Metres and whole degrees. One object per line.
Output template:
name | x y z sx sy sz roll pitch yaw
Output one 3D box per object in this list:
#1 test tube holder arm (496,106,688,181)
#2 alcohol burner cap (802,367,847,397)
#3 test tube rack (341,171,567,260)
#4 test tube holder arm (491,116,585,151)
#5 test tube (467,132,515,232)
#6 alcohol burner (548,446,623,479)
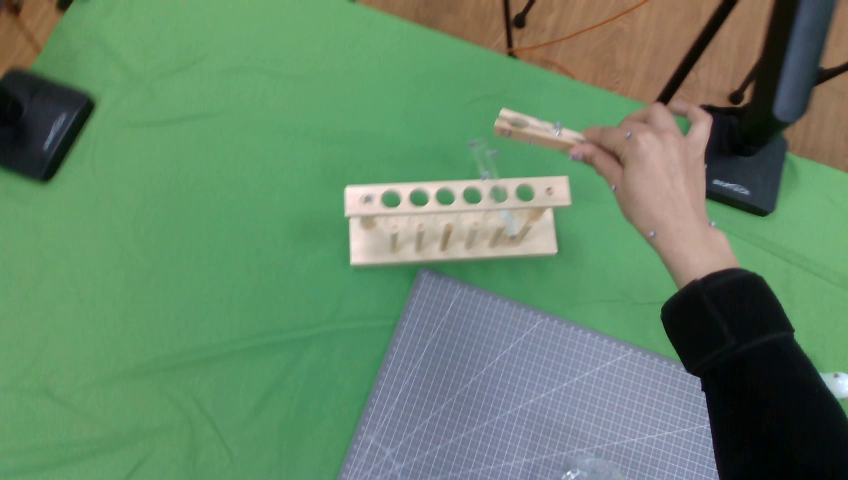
test tube holder arm | 0.148 -0.089 0.547 0.177 0.015 0.013 21 68 16
alcohol burner cap | 0.453 0.157 0.677 0.034 0.048 0.033 1 72 -3
test tube rack | 0.032 -0.026 0.684 0.242 0.085 0.066 -3 73 -4
test tube holder arm | 0.105 -0.098 0.557 0.087 0.015 0.010 15 66 14
test tube | 0.074 -0.057 0.651 0.017 0.152 0.017 -12 49 15
alcohol burner | 0.164 0.244 0.595 0.078 0.119 0.077 1 75 -3
